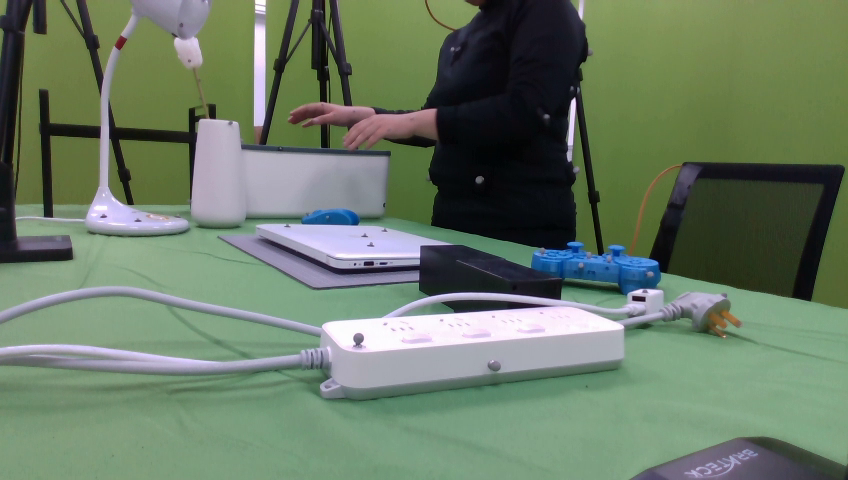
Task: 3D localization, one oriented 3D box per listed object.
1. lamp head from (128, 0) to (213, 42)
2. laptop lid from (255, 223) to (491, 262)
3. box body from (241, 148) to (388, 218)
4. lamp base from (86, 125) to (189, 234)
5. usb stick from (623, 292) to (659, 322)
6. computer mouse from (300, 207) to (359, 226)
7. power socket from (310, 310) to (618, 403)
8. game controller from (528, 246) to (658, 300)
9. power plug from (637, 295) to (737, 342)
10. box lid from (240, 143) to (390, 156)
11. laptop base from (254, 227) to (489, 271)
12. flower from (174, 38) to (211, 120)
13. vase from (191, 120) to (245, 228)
[{"bbox_3d":[-0.423,-0.394,0.980,0.123,0.112,0.112,20,7,-3],"label":"lamp head"},{"bbox_3d":[-0.093,0.000,0.911,0.243,0.013,0.355,1,7,-30],"label":"laptop lid"},{"bbox_3d":[-0.297,-0.143,1.475,0.366,0.160,0.253,-1,9,-30],"label":"box body"},{"bbox_3d":[-0.497,-0.105,1.027,0.179,0.180,0.160,1,7,2],"label":"lamp base"},{"bbox_3d":[0.211,0.064,0.580,0.021,0.027,0.059,-2,-3,36],"label":"usb stick"},{"bbox_3d":[-0.194,-0.046,1.241,0.117,0.041,0.063,0,10,11],"label":"computer mouse"},{"bbox_3d":[0.033,0.074,0.415,0.228,0.032,0.072,-1,8,-24],"label":"power socket"},{"bbox_3d":[0.202,0.036,0.732,0.155,0.051,0.097,5,10,20],"label":"game controller"},{"bbox_3d":[0.235,0.078,0.536,0.072,0.035,0.052,-35,41,-3],"label":"power plug"},{"bbox_3d":[-0.295,-0.217,1.463,0.373,0.015,0.262,-1,8,-30],"label":"box lid"},{"bbox_3d":[-0.096,0.012,0.911,0.237,0.023,0.352,2,6,-32],"label":"laptop base"},{"bbox_3d":[-0.401,-0.207,1.141,0.038,0.361,0.044,-14,3,44],"label":"flower"},{"bbox_3d":[-0.389,-0.124,1.142,0.098,0.200,0.098,3,9,0],"label":"vase"}]
